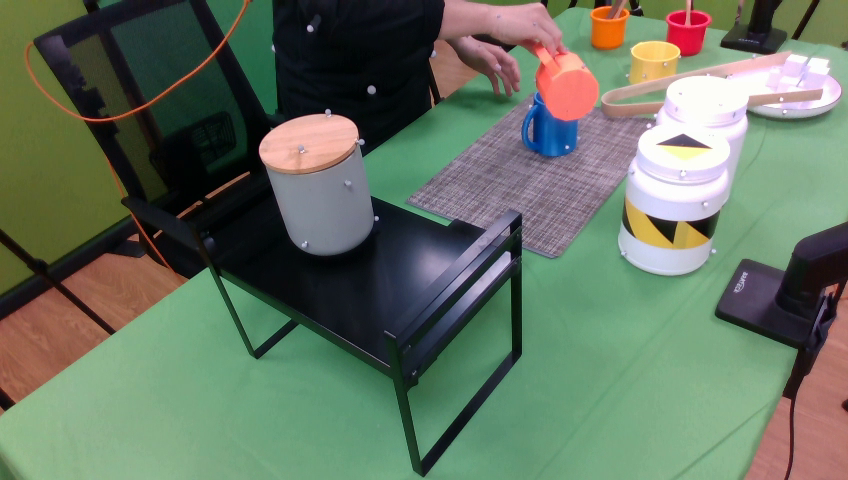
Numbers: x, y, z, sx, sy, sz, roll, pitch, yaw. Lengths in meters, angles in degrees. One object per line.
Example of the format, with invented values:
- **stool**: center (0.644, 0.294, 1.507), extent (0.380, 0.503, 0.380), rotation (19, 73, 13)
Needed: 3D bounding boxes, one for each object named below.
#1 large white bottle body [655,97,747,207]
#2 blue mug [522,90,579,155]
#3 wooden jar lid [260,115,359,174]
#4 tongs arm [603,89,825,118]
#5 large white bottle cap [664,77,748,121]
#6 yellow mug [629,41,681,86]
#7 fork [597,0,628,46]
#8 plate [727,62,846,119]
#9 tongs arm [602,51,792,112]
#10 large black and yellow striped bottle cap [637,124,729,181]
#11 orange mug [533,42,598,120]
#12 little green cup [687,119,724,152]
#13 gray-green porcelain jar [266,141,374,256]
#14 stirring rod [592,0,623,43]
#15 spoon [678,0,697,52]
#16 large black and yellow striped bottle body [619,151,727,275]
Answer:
- **large white bottle body**: center (0.431, -0.148, 0.959), extent (0.130, 0.185, 0.130), rotation (-4, 41, 4)
- **blue mug**: center (0.233, -0.218, 1.127), extent (0.117, 0.106, 0.081), rotation (-23, 43, -16)
- **wooden jar lid**: center (-0.124, -0.101, 0.662), extent (0.108, 0.021, 0.108), rotation (-4, 41, 4)
- **tongs arm**: center (0.546, -0.262, 1.162), extent (0.386, 0.028, 0.028), rotation (-1, 49, 18)
- **large white bottle cap**: center (0.421, -0.212, 0.905), extent (0.115, 0.018, 0.114), rotation (-4, 40, 4)
- **yellow mug**: center (0.495, -0.389, 1.321), extent (0.100, 0.064, 0.130), rotation (-14, 40, -7)
- **fork**: center (0.479, -0.558, 1.455), extent (0.028, 0.019, 0.207), rotation (35, 100, 38)
- **plate**: center (0.709, -0.292, 1.197), extent (0.207, 0.039, 0.206), rotation (-4, 40, 4)
- **tongs arm**: center (0.552, -0.320, 1.223), extent (0.384, 0.027, 0.050), rotation (-10, 43, 7)
- **large black and yellow striped bottle cap**: center (0.346, -0.119, 0.810), extent (0.115, 0.019, 0.114), rotation (-5, 41, 5)
- **orange mug**: center (0.227, -0.272, 1.011), extent (0.083, 0.127, 0.100), rotation (-35, 25, 19)
- **little green cup**: center (0.514, -0.191, 1.109), extent (0.061, 0.039, 0.061), rotation (-5, 40, 5)
- **gray-green porcelain jar**: center (-0.117, -0.054, 0.703), extent (0.106, 0.127, 0.105), rotation (-4, 40, 4)
- **stirring rod**: center (0.460, -0.557, 1.461), extent (0.014, 0.176, 0.006), rotation (35, 11, 22)
- **spoon**: center (0.614, -0.526, 1.402), extent (0.041, 0.022, 0.193), rotation (3, 86, 11)
- **large black and yellow striped bottle body**: center (0.354, -0.056, 0.865), extent (0.131, 0.185, 0.130), rotation (-4, 41, 4)
